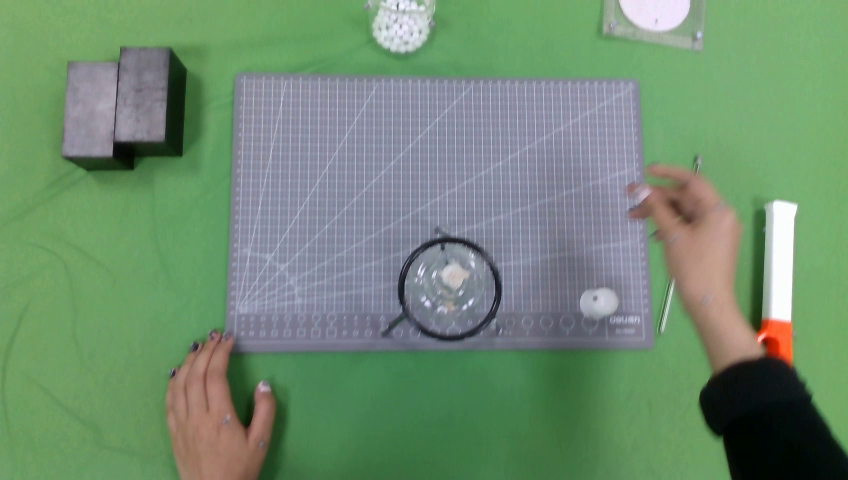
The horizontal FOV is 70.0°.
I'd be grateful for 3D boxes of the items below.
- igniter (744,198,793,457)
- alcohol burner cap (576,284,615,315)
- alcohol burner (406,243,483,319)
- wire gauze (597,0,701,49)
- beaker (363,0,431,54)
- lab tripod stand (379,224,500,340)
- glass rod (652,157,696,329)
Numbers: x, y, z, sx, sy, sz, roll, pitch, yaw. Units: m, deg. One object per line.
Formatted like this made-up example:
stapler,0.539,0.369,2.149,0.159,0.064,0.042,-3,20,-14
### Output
igniter,0.371,0.091,0.650,0.057,0.025,0.275,9,82,-13
alcohol burner cap,0.182,0.061,0.634,0.034,0.048,0.033,1,80,-3
alcohol burner,0.022,0.037,0.591,0.078,0.119,0.077,1,79,-3
wire gauze,0.263,-0.288,0.707,0.125,0.011,0.121,7,81,0
beaker,-0.027,-0.246,0.638,0.074,0.100,0.084,-44,87,-8
lab tripod stand,0.016,0.045,0.579,0.148,0.132,0.148,0,81,-1
glass rod,0.276,0.001,0.667,0.008,0.008,0.199,17,81,-1
